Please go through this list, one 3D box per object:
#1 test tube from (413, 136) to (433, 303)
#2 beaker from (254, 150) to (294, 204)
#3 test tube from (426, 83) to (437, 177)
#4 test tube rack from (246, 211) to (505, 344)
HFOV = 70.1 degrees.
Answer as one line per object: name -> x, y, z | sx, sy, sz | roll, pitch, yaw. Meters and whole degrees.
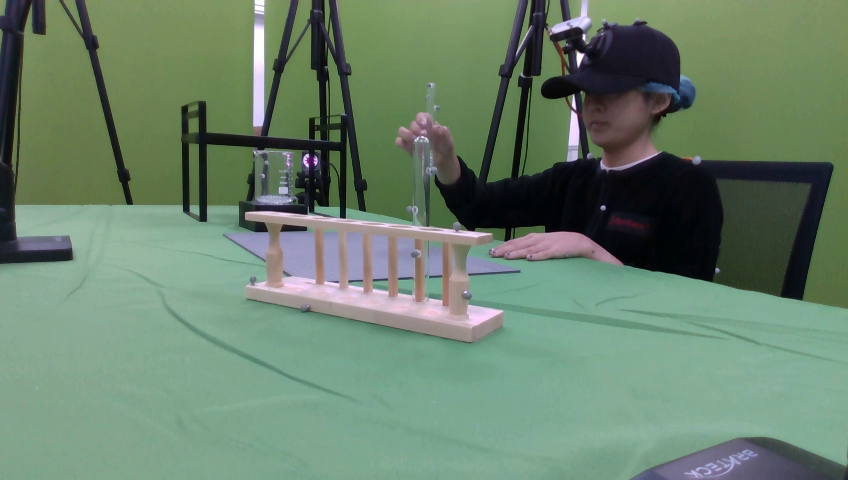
test tube -> -0.001, -0.016, 0.538 | 0.017, 0.150, 0.017 | 1, 8, 0
beaker -> -0.289, -0.120, 1.151 | 0.073, 0.100, 0.084 | 8, 9, 33
test tube -> 0.012, -0.176, 0.973 | 0.017, 0.150, 0.017 | 1, 1, 0
test tube rack -> -0.049, 0.025, 0.547 | 0.241, 0.085, 0.067 | 7, 8, 29
